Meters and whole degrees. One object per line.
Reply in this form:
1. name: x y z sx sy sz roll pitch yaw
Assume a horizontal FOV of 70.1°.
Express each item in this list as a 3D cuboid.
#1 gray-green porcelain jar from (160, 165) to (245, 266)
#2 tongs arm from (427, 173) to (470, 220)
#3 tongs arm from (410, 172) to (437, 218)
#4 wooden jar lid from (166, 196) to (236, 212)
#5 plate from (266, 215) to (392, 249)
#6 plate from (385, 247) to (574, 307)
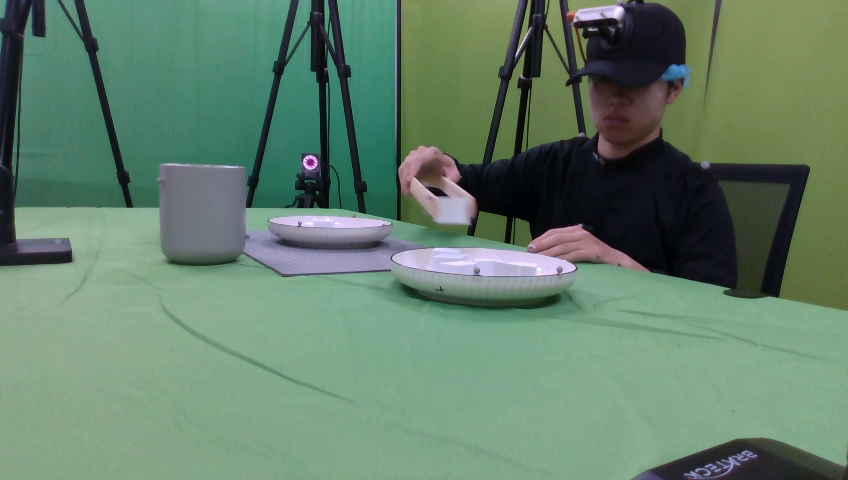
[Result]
1. gray-green porcelain jar: -0.291 -0.034 0.799 0.106 0.126 0.106 2 8 0
2. tongs arm: 0.035 -0.072 0.914 0.028 0.028 0.387 -2 11 -4
3. tongs arm: 0.008 -0.074 0.911 0.051 0.026 0.384 1 11 -8
4. wooden jar lid: -0.369 -0.060 1.001 0.108 0.020 0.108 3 6 0
5. plate: -0.159 -0.015 1.019 0.209 0.038 0.209 3 7 0
6. plate: 0.060 0.041 0.678 0.208 0.039 0.207 3 7 0
